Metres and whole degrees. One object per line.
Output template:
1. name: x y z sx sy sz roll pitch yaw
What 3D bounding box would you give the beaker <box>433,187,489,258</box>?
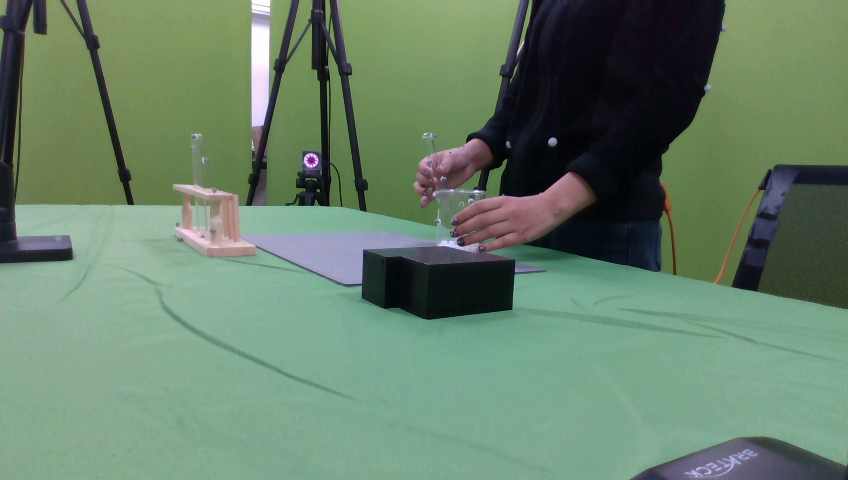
1. beaker: 0.053 -0.026 0.897 0.084 0.100 0.074 0 7 -12

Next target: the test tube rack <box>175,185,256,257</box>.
1. test tube rack: -0.324 -0.035 0.922 0.067 0.085 0.241 -2 9 -31

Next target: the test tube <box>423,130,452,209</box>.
1. test tube: 0.024 -0.113 1.001 0.017 0.151 0.017 -12 35 9

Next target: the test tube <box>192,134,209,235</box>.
1. test tube: -0.332 -0.082 0.898 0.017 0.150 0.017 -2 6 0
